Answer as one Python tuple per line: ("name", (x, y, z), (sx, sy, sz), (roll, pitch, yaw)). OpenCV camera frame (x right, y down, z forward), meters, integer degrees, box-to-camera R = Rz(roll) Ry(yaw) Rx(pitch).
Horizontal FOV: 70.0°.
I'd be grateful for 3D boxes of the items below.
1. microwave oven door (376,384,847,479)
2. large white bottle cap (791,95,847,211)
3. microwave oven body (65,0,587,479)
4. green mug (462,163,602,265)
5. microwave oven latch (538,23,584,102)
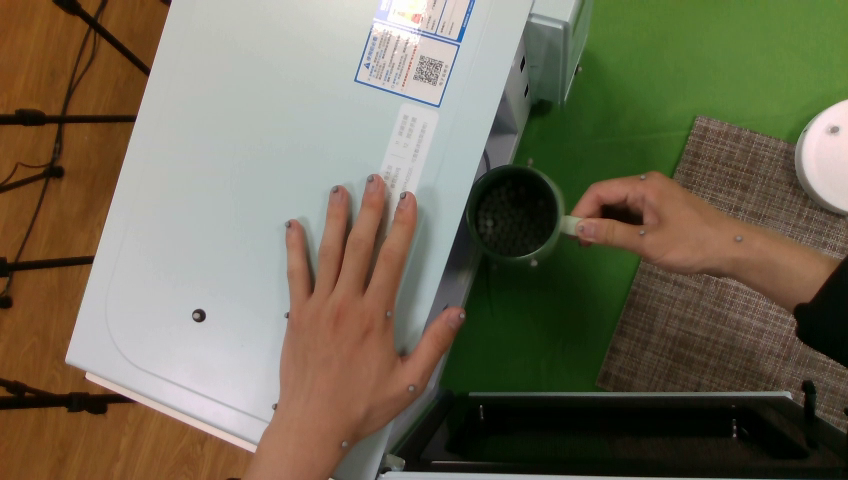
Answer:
("microwave oven door", (0.161, 0.170, 0.512), (0.355, 0.244, 0.039), (-4, 88, 11))
("large white bottle cap", (0.422, -0.085, 0.589), (0.114, 0.018, 0.114), (0, 89, 11))
("microwave oven body", (-0.073, -0.065, 0.565), (0.325, 0.261, 0.442), (19, 94, 10))
("green mug", (0.095, -0.020, 0.538), (0.125, 0.105, 0.092), (11, 92, 11))
("microwave oven latch", (0.140, -0.185, 0.621), (0.030, 0.029, 0.079), (19, 94, 11))
